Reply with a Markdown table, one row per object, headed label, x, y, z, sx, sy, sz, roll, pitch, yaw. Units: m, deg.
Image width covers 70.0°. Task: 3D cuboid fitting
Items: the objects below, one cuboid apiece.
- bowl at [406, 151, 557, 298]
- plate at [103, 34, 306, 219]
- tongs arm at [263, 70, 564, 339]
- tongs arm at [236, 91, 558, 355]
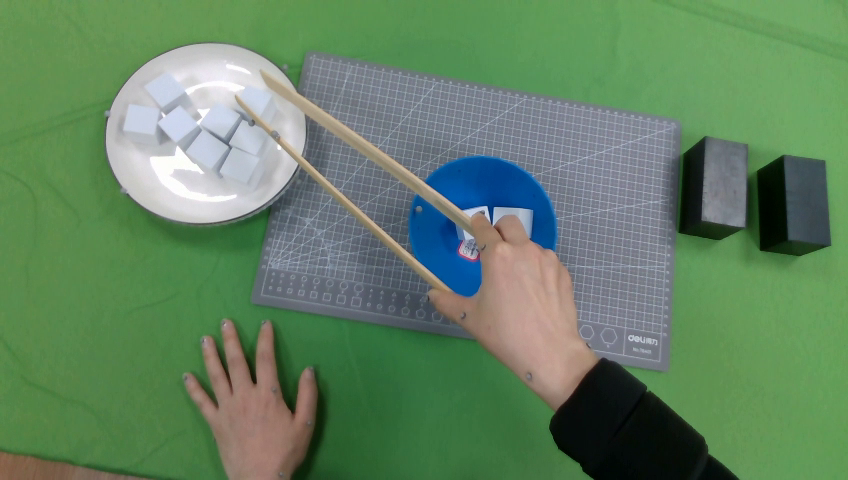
| label | x | y | z | sx | sy | sz | roll | pitch | yaw |
| --- | --- | --- | --- | --- | --- | --- | --- | --- | --- |
| bowl | 0.054 | -0.008 | 0.630 | 0.151 | 0.077 | 0.150 | 2 | 76 | -6 |
| plate | -0.229 | -0.119 | 0.650 | 0.208 | 0.039 | 0.206 | 1 | 77 | -4 |
| tongs arm | -0.024 | -0.049 | 0.538 | 0.384 | 0.028 | 0.028 | 40 | 70 | 22 |
| tongs arm | -0.040 | -0.033 | 0.532 | 0.051 | 0.027 | 0.381 | -40 | 66 | -13 |
